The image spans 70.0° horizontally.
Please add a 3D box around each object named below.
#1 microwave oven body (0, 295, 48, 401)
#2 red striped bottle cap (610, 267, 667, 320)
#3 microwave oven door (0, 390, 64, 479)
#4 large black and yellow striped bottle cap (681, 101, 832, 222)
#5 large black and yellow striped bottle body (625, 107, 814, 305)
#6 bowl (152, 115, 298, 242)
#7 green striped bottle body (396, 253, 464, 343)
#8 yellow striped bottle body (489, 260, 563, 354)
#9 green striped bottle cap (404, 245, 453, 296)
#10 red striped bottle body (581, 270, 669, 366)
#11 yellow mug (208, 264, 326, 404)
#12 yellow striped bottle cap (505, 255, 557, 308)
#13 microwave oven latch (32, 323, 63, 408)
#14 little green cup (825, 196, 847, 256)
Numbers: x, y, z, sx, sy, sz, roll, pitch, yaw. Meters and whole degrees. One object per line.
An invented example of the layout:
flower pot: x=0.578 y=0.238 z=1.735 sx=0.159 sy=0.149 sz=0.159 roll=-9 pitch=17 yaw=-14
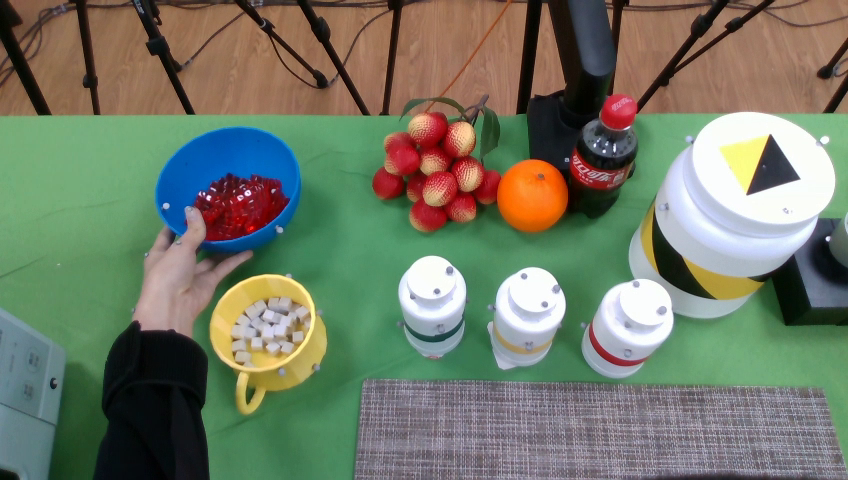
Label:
microwave oven body: x=-0.494 y=0.250 z=0.407 sx=0.326 sy=0.262 sz=0.437 roll=-8 pitch=63 yaw=-3
red striped bottle cap: x=0.184 y=0.045 z=0.520 sx=0.044 sy=0.018 sz=0.044 roll=1 pitch=61 yaw=-1
microwave oven door: x=-0.341 y=0.264 z=0.390 sx=0.039 sy=0.246 sz=0.352 roll=-9 pitch=62 yaw=0
large black and yellow striped bottle cap: x=0.276 y=-0.068 z=0.505 sx=0.115 sy=0.019 sz=0.114 roll=-1 pitch=61 yaw=2
large black and yellow striped bottle body: x=0.279 y=-0.029 z=0.580 sx=0.131 sy=0.185 sz=0.129 roll=-1 pitch=62 yaw=2
bowl: x=-0.208 y=-0.054 z=0.667 sx=0.151 sy=0.077 sz=0.150 roll=0 pitch=62 yaw=1
green striped bottle body: x=0.006 y=0.051 z=0.582 sx=0.063 sy=0.120 sz=0.062 roll=-1 pitch=62 yaw=2
yellow striped bottle body: x=0.095 y=0.060 z=0.574 sx=0.063 sy=0.121 sz=0.062 roll=-1 pitch=61 yaw=2
green striped bottle cap: x=0.004 y=0.027 z=0.536 sx=0.044 sy=0.020 sz=0.044 roll=-1 pitch=61 yaw=1
red striped bottle body: x=0.187 y=0.071 z=0.566 sx=0.063 sy=0.121 sz=0.062 roll=-2 pitch=61 yaw=4
yellow mug: x=-0.156 y=0.095 z=0.594 sx=0.100 sy=0.064 sz=0.130 roll=8 pitch=63 yaw=8
yellow striped bottle cap: x=0.093 y=0.036 z=0.528 sx=0.044 sy=0.019 sz=0.044 roll=-1 pitch=63 yaw=1
microwave oven latch: x=-0.369 y=0.122 z=0.581 sx=0.030 sy=0.030 sz=0.078 roll=-7 pitch=63 yaw=-2
little green cup: x=0.429 y=-0.013 z=0.592 sx=0.061 sy=0.039 sz=0.061 roll=0 pitch=61 yaw=0
